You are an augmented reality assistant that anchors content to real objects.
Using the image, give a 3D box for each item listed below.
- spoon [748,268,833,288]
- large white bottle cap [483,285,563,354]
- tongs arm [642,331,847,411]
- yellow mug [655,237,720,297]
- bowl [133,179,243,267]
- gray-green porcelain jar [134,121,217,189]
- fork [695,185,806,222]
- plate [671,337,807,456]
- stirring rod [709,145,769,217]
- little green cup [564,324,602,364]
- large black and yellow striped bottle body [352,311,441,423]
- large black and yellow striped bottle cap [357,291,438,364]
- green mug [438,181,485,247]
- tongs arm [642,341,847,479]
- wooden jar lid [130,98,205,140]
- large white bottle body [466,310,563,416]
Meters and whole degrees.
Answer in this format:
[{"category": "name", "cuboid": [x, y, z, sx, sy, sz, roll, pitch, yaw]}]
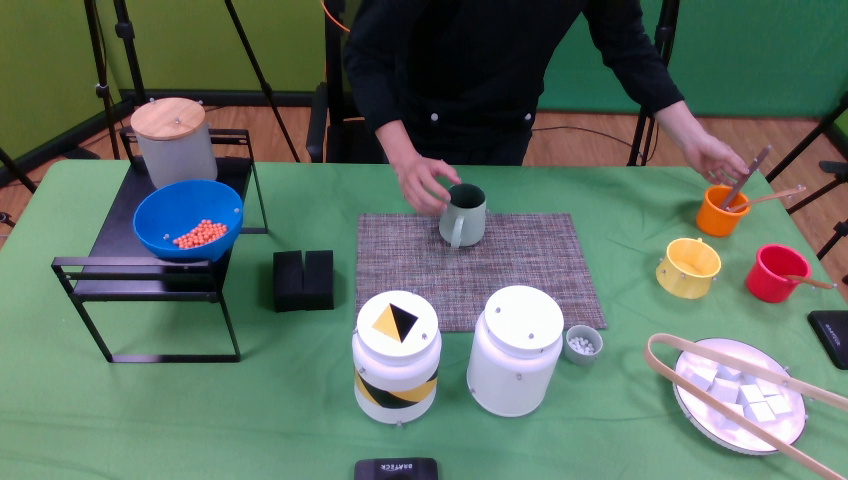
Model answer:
[{"category": "spoon", "cuboid": [0.660, 0.068, 1.097, 0.041, 0.193, 0.021, -4, 91, -6]}, {"category": "large white bottle cap", "cuboid": [0.142, 0.112, 0.871, 0.115, 0.018, 0.114, 3, 46, -3]}, {"category": "tongs arm", "cuboid": [0.546, 0.227, 0.968, 0.384, 0.026, 0.050, 22, 52, 13]}, {"category": "yellow mug", "cuboid": [0.509, 0.041, 1.167, 0.099, 0.064, 0.130, 24, 48, 18]}, {"category": "bowl", "cuboid": [-0.339, -0.013, 0.895, 0.151, 0.077, 0.150, 2, 46, -2]}, {"category": "gray-green porcelain jar", "cuboid": [-0.397, -0.141, 0.980, 0.106, 0.127, 0.105, 2, 47, -2]}, {"category": "fork", "cuboid": [0.657, -0.074, 1.230, 0.207, 0.019, 0.028, -23, 34, 37]}, {"category": "plate", "cuboid": [0.504, 0.254, 0.984, 0.208, 0.039, 0.206, 2, 46, -2]}, {"category": "stirring rod", "cuboid": [0.647, -0.121, 1.245, 0.006, 0.176, 0.014, 24, 15, -48]}, {"category": "little green cup", "cuboid": [0.269, 0.179, 1.035, 0.061, 0.039, 0.061, 2, 45, -2]}, {"category": "large black and yellow striped bottle body", "cuboid": [-0.042, 0.177, 0.913, 0.131, 0.185, 0.130, 2, 46, -2]}, {"category": "large black and yellow striped bottle cap", "cuboid": [-0.037, 0.121, 0.850, 0.115, 0.019, 0.114, 2, 46, -1]}, {"category": "green mug", "cuboid": [0.071, -0.039, 1.177, 0.092, 0.105, 0.124, 12, 47, 7]}, {"category": "tongs arm", "cuboid": [0.504, 0.278, 0.918, 0.386, 0.028, 0.028, 34, 59, 22]}, {"category": "wooden jar lid", "cuboid": [-0.393, -0.183, 0.934, 0.108, 0.021, 0.107, 2, 44, -2]}, {"category": "large white bottle body", "cuboid": [0.138, 0.171, 0.932, 0.131, 0.185, 0.130, 2, 46, -2]}]
